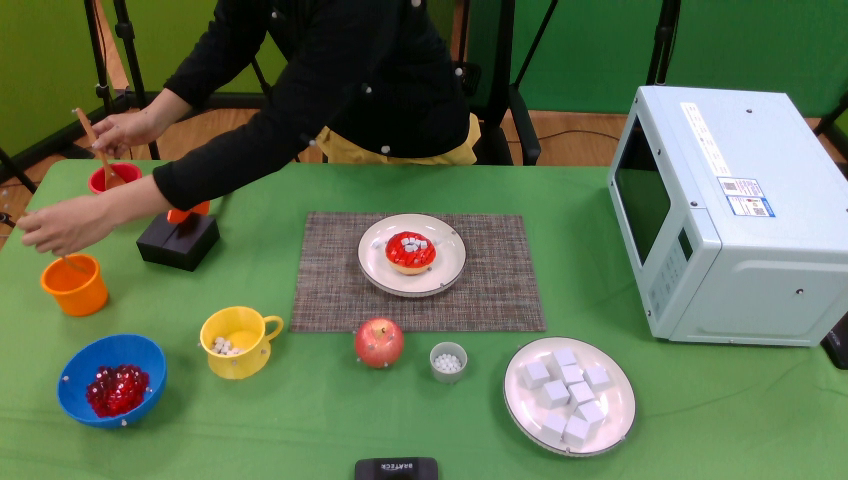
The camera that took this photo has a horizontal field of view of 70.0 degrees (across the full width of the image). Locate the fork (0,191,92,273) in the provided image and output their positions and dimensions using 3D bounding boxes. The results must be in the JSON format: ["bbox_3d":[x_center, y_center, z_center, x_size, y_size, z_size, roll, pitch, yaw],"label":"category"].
[{"bbox_3d":[-0.604,-0.009,0.970,0.018,0.208,0.028,-41,51,-20],"label":"fork"}]

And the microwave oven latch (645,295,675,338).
[{"bbox_3d":[0.412,0.134,1.061,0.030,0.029,0.078,3,45,0],"label":"microwave oven latch"}]

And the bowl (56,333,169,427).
[{"bbox_3d":[-0.456,0.223,0.911,0.151,0.077,0.150,3,45,-3],"label":"bowl"}]

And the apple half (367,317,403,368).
[{"bbox_3d":[-0.062,0.167,0.998,0.053,0.075,0.080,-11,44,-21],"label":"apple half"}]

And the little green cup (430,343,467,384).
[{"bbox_3d":[0.039,0.203,0.994,0.061,0.039,0.061,2,46,-2],"label":"little green cup"}]

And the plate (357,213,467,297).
[{"bbox_3d":[-0.023,0.032,1.150,0.209,0.038,0.208,2,46,-2],"label":"plate"}]

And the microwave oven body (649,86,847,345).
[{"bbox_3d":[0.568,-0.053,1.118,0.326,0.261,0.439,2,45,-1],"label":"microwave oven body"}]

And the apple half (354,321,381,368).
[{"bbox_3d":[-0.097,0.176,0.985,0.033,0.081,0.080,-12,48,-20],"label":"apple half"}]

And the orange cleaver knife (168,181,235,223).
[{"bbox_3d":[-0.436,-0.077,1.196,0.012,0.077,0.211,16,15,10],"label":"orange cleaver knife"}]

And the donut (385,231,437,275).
[{"bbox_3d":[-0.024,0.024,1.141,0.099,0.048,0.098,4,43,-3],"label":"donut"}]

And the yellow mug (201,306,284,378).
[{"bbox_3d":[-0.291,0.159,0.993,0.131,0.064,0.099,-23,52,-25],"label":"yellow mug"}]

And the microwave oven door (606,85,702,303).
[{"bbox_3d":[0.423,-0.094,1.140,0.039,0.245,0.353,2,46,-1],"label":"microwave oven door"}]

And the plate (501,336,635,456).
[{"bbox_3d":[0.225,0.249,0.963,0.208,0.039,0.206,2,46,-2],"label":"plate"}]

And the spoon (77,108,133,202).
[{"bbox_3d":[-0.625,-0.165,1.186,0.041,0.194,0.021,-28,26,-28],"label":"spoon"}]
